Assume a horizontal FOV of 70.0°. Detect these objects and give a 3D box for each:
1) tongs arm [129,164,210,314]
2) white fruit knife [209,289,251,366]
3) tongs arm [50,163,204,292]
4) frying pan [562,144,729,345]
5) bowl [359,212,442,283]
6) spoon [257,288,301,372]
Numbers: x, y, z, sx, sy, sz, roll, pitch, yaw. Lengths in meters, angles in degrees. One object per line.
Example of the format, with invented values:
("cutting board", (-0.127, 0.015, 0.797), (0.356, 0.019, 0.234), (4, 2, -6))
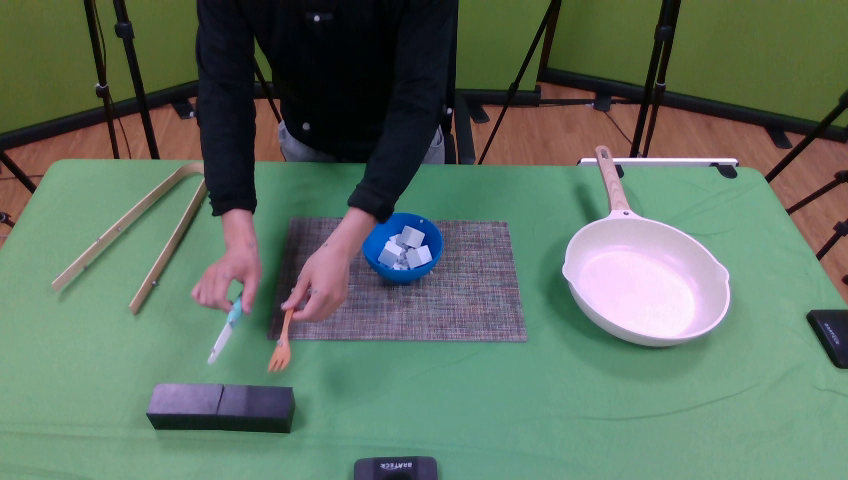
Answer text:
("tongs arm", (-0.483, -0.015, 1.170), (0.028, 0.028, 0.385), (5, 46, 4))
("white fruit knife", (-0.289, 0.125, 0.905), (0.016, 0.027, 0.206), (-5, 23, 0))
("tongs arm", (-0.561, -0.036, 1.178), (0.050, 0.026, 0.383), (17, 46, 10))
("frying pan", (0.396, -0.008, 1.179), (0.307, 0.103, 0.484), (1, 55, -4))
("bowl", (-0.044, 0.026, 1.125), (0.151, 0.077, 0.150), (2, 46, -2))
("spoon", (-0.209, 0.129, 0.908), (0.041, 0.022, 0.192), (-14, 34, 13))
